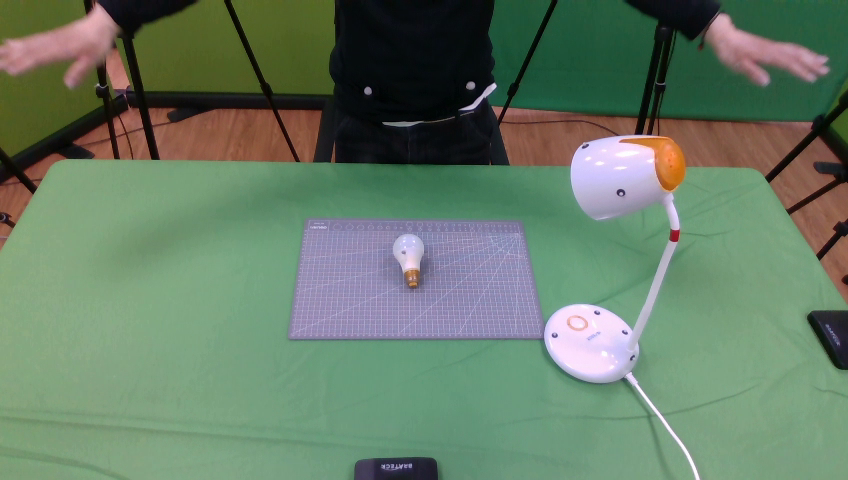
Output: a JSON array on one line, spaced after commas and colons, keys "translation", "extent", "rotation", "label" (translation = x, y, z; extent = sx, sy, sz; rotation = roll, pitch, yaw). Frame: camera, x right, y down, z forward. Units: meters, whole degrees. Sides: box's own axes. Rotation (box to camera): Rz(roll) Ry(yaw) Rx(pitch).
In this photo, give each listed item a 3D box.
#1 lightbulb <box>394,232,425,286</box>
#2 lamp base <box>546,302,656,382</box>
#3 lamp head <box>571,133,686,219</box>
[{"translation": [-0.025, 0.036, 1.134], "extent": [0.059, 0.060, 0.107], "rotation": [-4, 62, -7], "label": "lightbulb"}, {"translation": [0.303, 0.127, 0.982], "extent": [0.160, 0.181, 0.178], "rotation": [-34, 59, -29], "label": "lamp base"}, {"translation": [0.271, -0.085, 0.780], "extent": [0.112, 0.113, 0.122], "rotation": [-40, 22, -33], "label": "lamp head"}]
